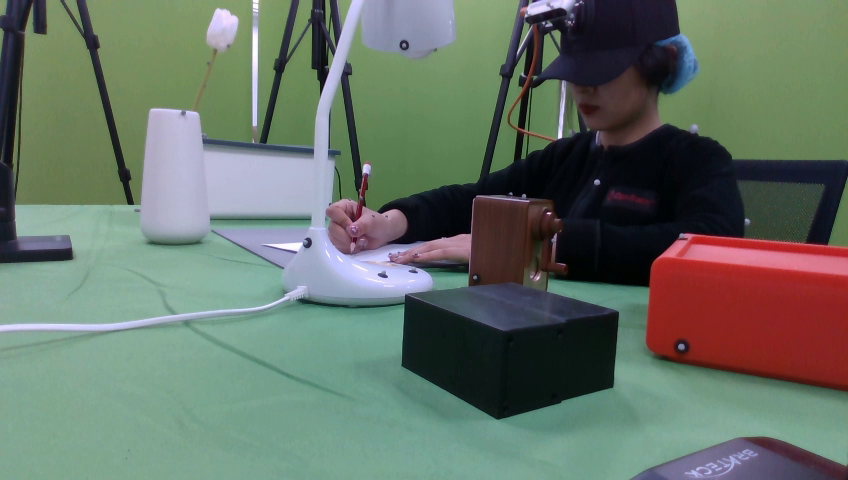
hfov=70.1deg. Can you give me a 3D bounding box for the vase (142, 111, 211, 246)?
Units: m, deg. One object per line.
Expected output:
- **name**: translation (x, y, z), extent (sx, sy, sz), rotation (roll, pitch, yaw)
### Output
- **vase**: translation (-0.378, -0.093, 0.920), extent (0.098, 0.200, 0.098), rotation (2, 9, 0)

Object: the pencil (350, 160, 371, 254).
- **pencil**: translation (-0.093, -0.053, 0.886), extent (0.012, 0.012, 0.193), rotation (2, 48, 2)

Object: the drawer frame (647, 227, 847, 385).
- **drawer frame**: translation (0.303, 0.043, 0.495), extent (0.201, 0.082, 0.214), rotation (6, 9, 26)

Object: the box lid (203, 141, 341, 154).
- **box lid**: translation (-0.396, -0.212, 1.373), extent (0.373, 0.015, 0.262), rotation (-1, 9, -29)

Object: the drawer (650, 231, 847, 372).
- **drawer**: translation (0.303, 0.044, 0.499), extent (0.194, 0.073, 0.212), rotation (7, 9, 27)

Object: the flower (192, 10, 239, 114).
- **flower**: translation (-0.354, -0.174, 0.916), extent (0.038, 0.361, 0.044), rotation (18, -3, 12)

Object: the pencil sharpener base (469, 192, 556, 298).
- **pencil sharpener base**: translation (0.097, 0.003, 0.652), extent (0.076, 0.107, 0.061), rotation (8, 9, 38)

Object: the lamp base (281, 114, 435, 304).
- **lamp base**: translation (-0.071, -0.034, 0.614), extent (0.160, 0.180, 0.180), rotation (6, 10, 27)

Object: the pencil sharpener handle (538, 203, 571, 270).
- **pencil sharpener handle**: translation (0.137, -0.003, 0.619), extent (0.030, 0.067, 0.036), rotation (8, 7, 38)

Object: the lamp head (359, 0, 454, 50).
- **lamp head**: translation (-0.024, -0.282, 0.674), extent (0.112, 0.123, 0.112), rotation (-3, 38, 3)

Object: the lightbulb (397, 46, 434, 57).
- **lightbulb**: translation (-0.017, -0.264, 0.692), extent (0.059, 0.108, 0.059), rotation (-9, 28, 5)

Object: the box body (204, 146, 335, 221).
- **box body**: translation (-0.410, -0.135, 1.386), extent (0.366, 0.160, 0.253), rotation (-2, 9, -29)
